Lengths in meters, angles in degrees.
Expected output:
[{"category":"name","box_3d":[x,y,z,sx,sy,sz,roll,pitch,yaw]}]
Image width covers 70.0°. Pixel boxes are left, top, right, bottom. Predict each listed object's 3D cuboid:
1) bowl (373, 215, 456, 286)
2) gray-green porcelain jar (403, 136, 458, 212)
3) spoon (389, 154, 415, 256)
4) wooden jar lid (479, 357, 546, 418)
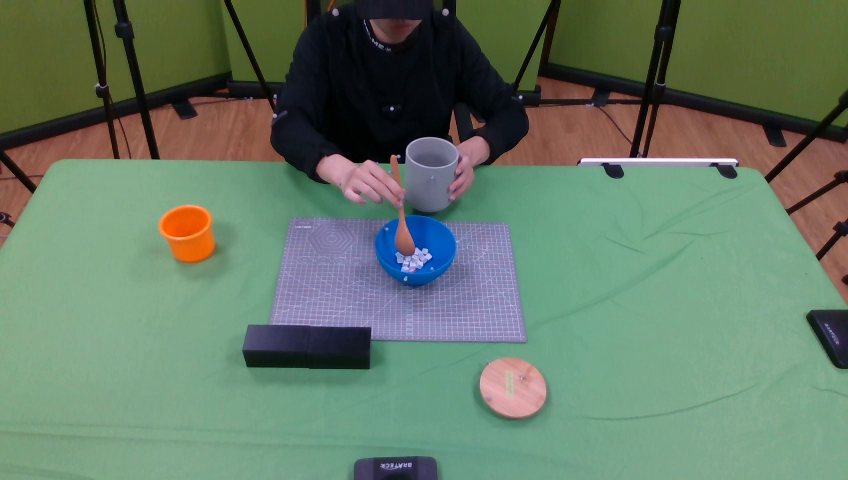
[{"category":"bowl","box_3d":[-0.019,0.032,1.122,0.151,0.077,0.150,2,46,-2]},{"category":"gray-green porcelain jar","box_3d":[0.011,-0.129,1.230,0.106,0.127,0.105,3,44,-2]},{"category":"spoon","box_3d":[-0.044,-0.058,1.075,0.041,0.194,0.021,3,21,26]},{"category":"wooden jar lid","box_3d":[0.142,0.240,0.979,0.108,0.021,0.107,1,46,-1]}]
